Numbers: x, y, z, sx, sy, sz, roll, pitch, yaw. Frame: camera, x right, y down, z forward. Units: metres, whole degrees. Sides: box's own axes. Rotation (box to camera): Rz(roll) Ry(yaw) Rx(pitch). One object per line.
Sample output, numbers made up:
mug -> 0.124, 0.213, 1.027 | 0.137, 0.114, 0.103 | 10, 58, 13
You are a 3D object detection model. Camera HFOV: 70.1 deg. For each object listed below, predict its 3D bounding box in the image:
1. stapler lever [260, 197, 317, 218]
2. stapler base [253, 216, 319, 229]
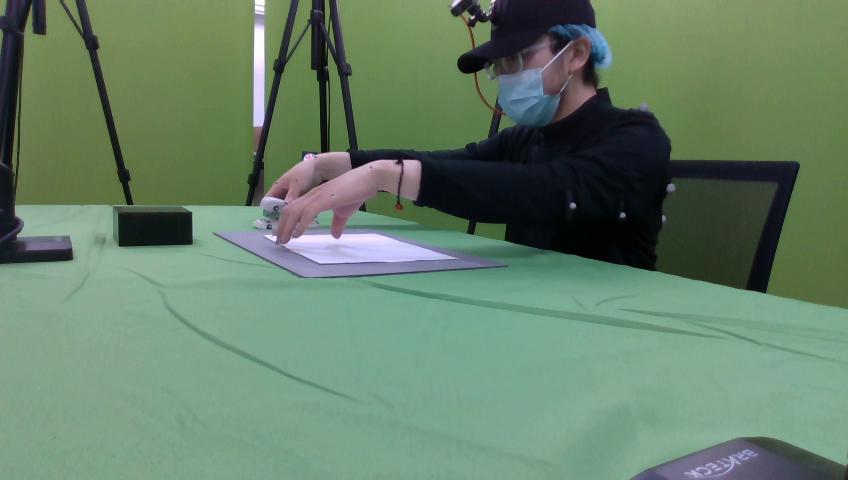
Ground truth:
stapler lever -> -0.267, -0.064, 1.196 | 0.119, 0.040, 0.026 | -1, 21, -41
stapler base -> -0.272, -0.040, 1.201 | 0.131, 0.024, 0.041 | -1, 22, -41
